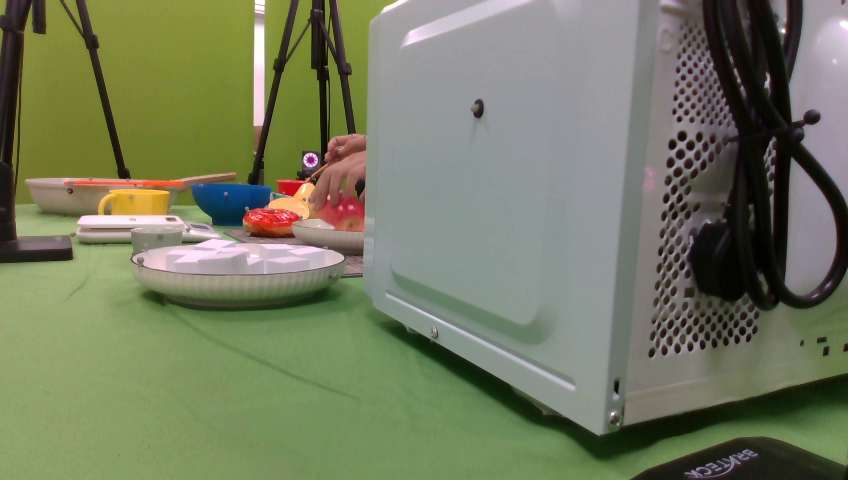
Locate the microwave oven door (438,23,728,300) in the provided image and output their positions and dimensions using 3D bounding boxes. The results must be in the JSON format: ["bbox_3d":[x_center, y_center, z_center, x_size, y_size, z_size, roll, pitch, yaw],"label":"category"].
[{"bbox_3d":[0.181,-0.073,0.621,0.358,0.243,0.039,-2,8,-29],"label":"microwave oven door"}]

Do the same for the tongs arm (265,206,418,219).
[{"bbox_3d":[-0.173,-0.061,1.362,0.387,0.026,0.050,-1,4,-31],"label":"tongs arm"}]

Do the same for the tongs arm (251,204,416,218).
[{"bbox_3d":[-0.210,-0.069,1.439,0.389,0.027,0.028,1,0,-17],"label":"tongs arm"}]

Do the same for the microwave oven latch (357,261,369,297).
[{"bbox_3d":[-0.019,0.033,0.530,0.079,0.029,0.030,-1,7,-27],"label":"microwave oven latch"}]

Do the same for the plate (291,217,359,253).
[{"bbox_3d":[-0.103,-0.009,0.945,0.209,0.038,0.209,2,7,0],"label":"plate"}]

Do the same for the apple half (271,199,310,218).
[{"bbox_3d":[-0.254,-0.039,1.143,0.081,0.032,0.081,17,46,-18],"label":"apple half"}]

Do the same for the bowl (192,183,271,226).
[{"bbox_3d":[-0.382,-0.071,1.202,0.151,0.077,0.151,3,7,0],"label":"bowl"}]

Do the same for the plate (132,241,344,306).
[{"bbox_3d":[-0.187,0.033,0.625,0.208,0.039,0.207,2,8,0],"label":"plate"}]

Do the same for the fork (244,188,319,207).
[{"bbox_3d":[-0.356,-0.105,1.526,0.208,0.018,0.028,16,-5,-41],"label":"fork"}]

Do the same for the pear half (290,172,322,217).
[{"bbox_3d":[-0.228,-0.078,1.183,0.076,0.110,0.056,-2,8,2],"label":"pear half"}]

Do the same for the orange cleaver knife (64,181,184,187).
[{"bbox_3d":[-0.596,-0.113,1.212,0.212,0.012,0.077,-3,7,-41],"label":"orange cleaver knife"}]

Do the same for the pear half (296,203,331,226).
[{"bbox_3d":[-0.229,-0.049,1.258,0.070,0.031,0.088,0,23,-3],"label":"pear half"}]

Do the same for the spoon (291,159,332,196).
[{"bbox_3d":[-0.316,-0.159,1.640,0.194,0.022,0.041,-50,32,-20],"label":"spoon"}]

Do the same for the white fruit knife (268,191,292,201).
[{"bbox_3d":[-0.364,-0.105,1.464,0.208,0.027,0.016,15,-1,-34],"label":"white fruit knife"}]

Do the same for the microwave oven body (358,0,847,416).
[{"bbox_3d":[0.211,-0.047,0.474,0.444,0.260,0.324,-1,7,-28],"label":"microwave oven body"}]

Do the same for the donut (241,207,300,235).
[{"bbox_3d":[-0.263,-0.032,1.039,0.099,0.048,0.099,4,9,0],"label":"donut"}]

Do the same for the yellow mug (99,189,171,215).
[{"bbox_3d":[-0.519,-0.055,1.080,0.099,0.064,0.131,6,9,26],"label":"yellow mug"}]

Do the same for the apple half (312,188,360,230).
[{"bbox_3d":[-0.120,-0.048,0.912,0.081,0.053,0.074,24,16,-38],"label":"apple half"}]

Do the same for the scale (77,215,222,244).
[{"bbox_3d":[-0.434,-0.019,0.963,0.202,0.031,0.148,-1,9,-27],"label":"scale"}]

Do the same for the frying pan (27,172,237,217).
[{"bbox_3d":[-0.624,-0.118,1.387,0.305,0.102,0.490,8,17,32],"label":"frying pan"}]

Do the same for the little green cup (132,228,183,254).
[{"bbox_3d":[-0.342,0.006,0.779,0.061,0.038,0.061,2,8,0],"label":"little green cup"}]
